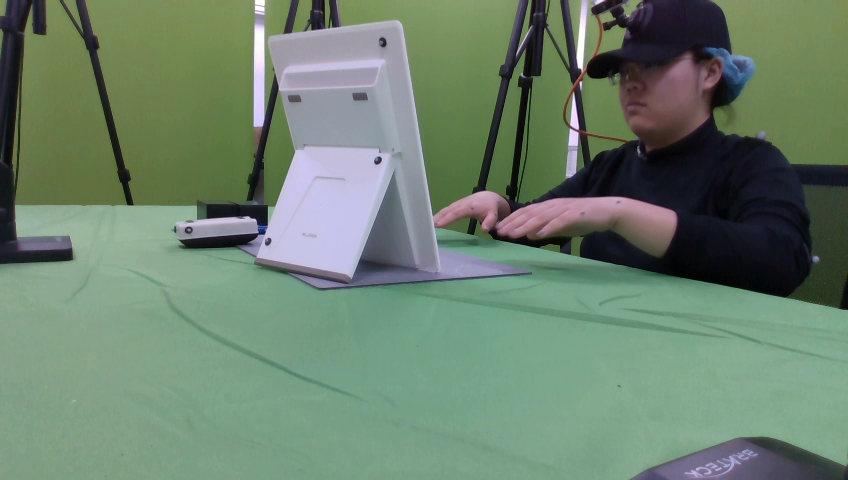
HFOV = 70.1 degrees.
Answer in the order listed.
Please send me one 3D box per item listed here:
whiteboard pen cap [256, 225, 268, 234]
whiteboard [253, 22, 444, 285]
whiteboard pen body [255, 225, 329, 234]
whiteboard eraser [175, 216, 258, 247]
[{"bbox_3d":[-0.288,-0.019,1.072,0.033,0.018,0.018,-4,10,-34],"label":"whiteboard pen cap"},{"bbox_3d":[-0.125,-0.081,0.715,0.216,0.305,0.144,9,29,36],"label":"whiteboard"},{"bbox_3d":[-0.239,-0.019,1.105,0.141,0.017,0.017,-2,9,-34],"label":"whiteboard pen body"},{"bbox_3d":[-0.313,-0.013,0.915,0.113,0.042,0.055,-5,12,-30],"label":"whiteboard eraser"}]
